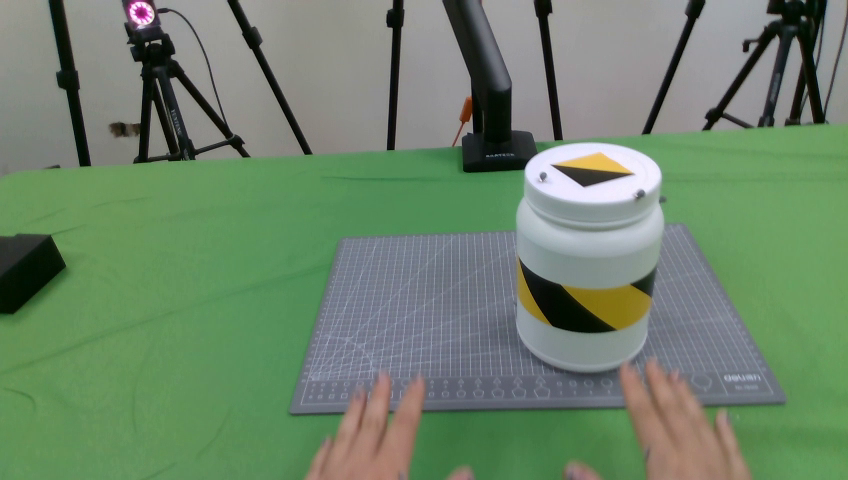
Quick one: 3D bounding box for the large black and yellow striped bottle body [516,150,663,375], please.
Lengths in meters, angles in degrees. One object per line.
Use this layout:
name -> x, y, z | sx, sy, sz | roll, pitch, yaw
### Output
large black and yellow striped bottle body -> 0.153, 0.020, 0.576 | 0.131, 0.185, 0.129 | -4, 33, 3

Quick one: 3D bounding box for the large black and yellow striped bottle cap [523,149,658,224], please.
large black and yellow striped bottle cap -> 0.144, -0.050, 0.530 | 0.115, 0.019, 0.114 | -3, 32, 2
